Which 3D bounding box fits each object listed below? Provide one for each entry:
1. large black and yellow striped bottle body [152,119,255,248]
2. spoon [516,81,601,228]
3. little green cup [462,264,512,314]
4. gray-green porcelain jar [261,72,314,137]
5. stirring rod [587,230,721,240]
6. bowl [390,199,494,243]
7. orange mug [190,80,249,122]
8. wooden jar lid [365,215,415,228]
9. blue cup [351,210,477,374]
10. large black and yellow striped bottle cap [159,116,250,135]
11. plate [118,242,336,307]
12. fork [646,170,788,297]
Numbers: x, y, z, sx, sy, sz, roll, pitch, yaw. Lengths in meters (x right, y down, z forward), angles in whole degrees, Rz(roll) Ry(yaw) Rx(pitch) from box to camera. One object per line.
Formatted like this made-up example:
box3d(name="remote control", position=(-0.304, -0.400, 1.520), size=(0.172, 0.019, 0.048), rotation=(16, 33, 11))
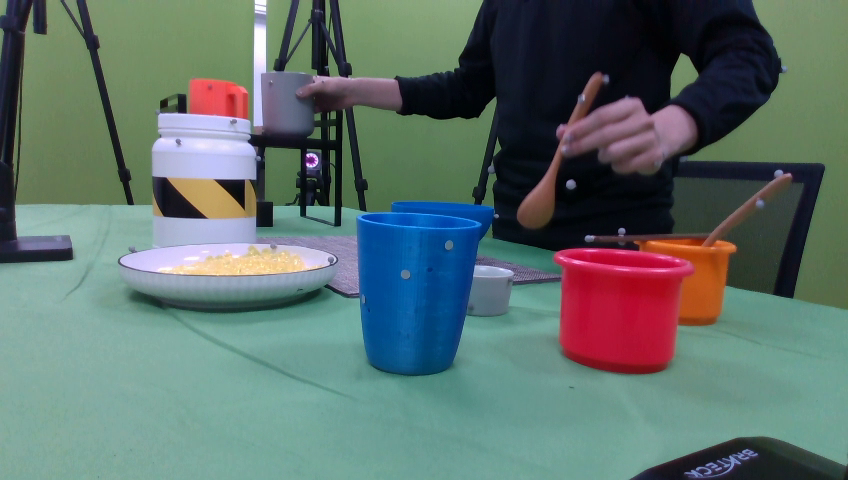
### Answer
box3d(name="large black and yellow striped bottle body", position=(-0.296, -0.070, 0.819), size=(0.131, 0.184, 0.130), rotation=(2, 7, 0))
box3d(name="spoon", position=(0.154, -0.092, 0.693), size=(0.042, 0.193, 0.021), rotation=(16, 27, -6))
box3d(name="little green cup", position=(0.053, 0.047, 0.580), size=(0.061, 0.038, 0.061), rotation=(3, 8, 0))
box3d(name="gray-green porcelain jar", position=(-0.282, -0.277, 1.253), size=(0.106, 0.126, 0.106), rotation=(0, 9, 0))
box3d(name="stirring rod", position=(0.227, -0.006, 0.586), size=(0.177, 0.006, 0.014), rotation=(-2, 7, -29))
box3d(name="bowl", position=(0.024, -0.015, 0.872), size=(0.151, 0.077, 0.151), rotation=(3, 7, 0))
box3d(name="orange mug", position=(-0.394, -0.257, 1.173), size=(0.126, 0.100, 0.084), rotation=(1, 6, 25))
box3d(name="wooden jar lid", position=(-0.073, -0.040, 1.291), size=(0.108, 0.020, 0.108), rotation=(3, 7, 0))
box3d(name="blue cup", position=(-0.009, 0.034, 0.414), size=(0.093, 0.100, 0.092), rotation=(4, 8, 0))
box3d(name="large black and yellow striped bottle cap", position=(-0.292, -0.153, 0.810), size=(0.115, 0.019, 0.115), rotation=(3, 8, 0))
box3d(name="plate", position=(-0.194, 0.033, 0.615), size=(0.209, 0.038, 0.209), rotation=(2, 7, 0))
box3d(name="fork", position=(0.256, 0.004, 0.543), size=(0.028, 0.018, 0.207), rotation=(3, -37, -10))
